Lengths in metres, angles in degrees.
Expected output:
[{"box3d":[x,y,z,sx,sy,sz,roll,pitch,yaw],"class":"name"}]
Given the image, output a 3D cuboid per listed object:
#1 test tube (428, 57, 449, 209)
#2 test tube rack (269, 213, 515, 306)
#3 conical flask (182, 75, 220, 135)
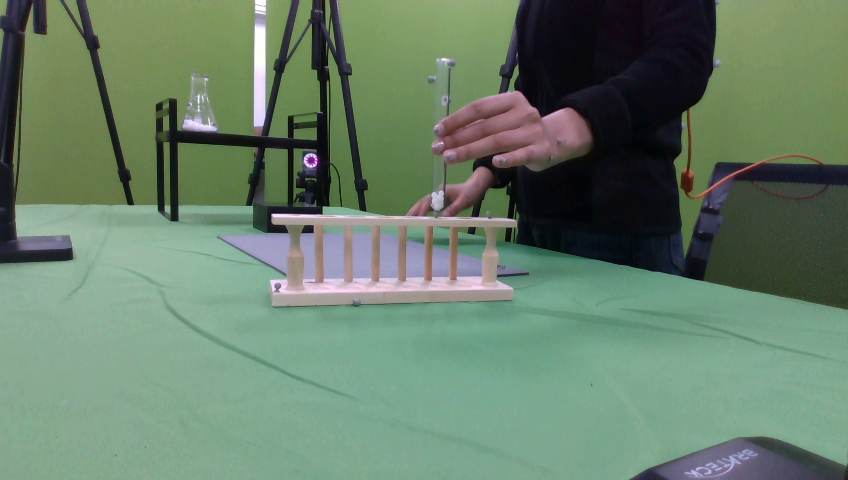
[{"box3d":[0.014,-0.106,0.606,0.017,0.150,0.017,2,9,0],"class":"test tube"},{"box3d":[-0.032,0.015,0.617,0.243,0.085,0.066,0,7,-17],"class":"test tube rack"},{"box3d":[-0.475,-0.287,1.288,0.075,0.122,0.075,2,7,0],"class":"conical flask"}]
